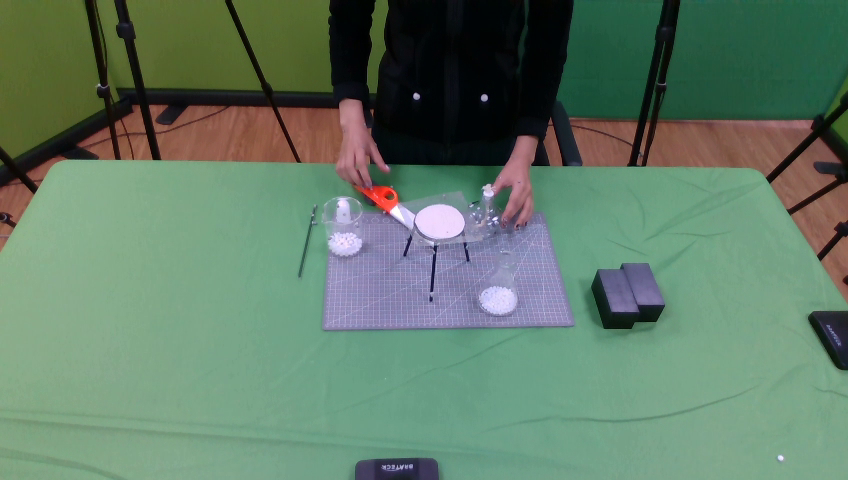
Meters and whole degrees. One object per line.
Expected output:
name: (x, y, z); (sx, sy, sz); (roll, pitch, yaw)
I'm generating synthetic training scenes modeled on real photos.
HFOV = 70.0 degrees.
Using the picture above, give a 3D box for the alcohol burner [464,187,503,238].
alcohol burner: (0.120, -0.061, 1.201); (0.078, 0.119, 0.077); (3, 47, -3)

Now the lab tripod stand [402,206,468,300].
lab tripod stand: (0.023, 0.013, 1.108); (0.148, 0.132, 0.147); (3, 44, -2)

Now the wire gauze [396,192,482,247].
wire gauze: (0.025, -0.036, 1.061); (0.125, 0.011, 0.120); (-9, 47, -14)

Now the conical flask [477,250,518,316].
conical flask: (0.136, 0.072, 1.067); (0.075, 0.122, 0.075); (2, 46, -2)

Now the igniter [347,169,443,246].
igniter: (-0.068, -0.070, 1.257); (0.275, 0.025, 0.057); (37, 71, 28)

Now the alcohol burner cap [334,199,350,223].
alcohol burner cap: (-0.167, -0.061, 1.227); (0.034, 0.048, 0.033); (2, 46, -2)

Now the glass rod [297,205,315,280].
glass rod: (-0.231, 0.001, 1.191); (0.008, 0.008, 0.198); (2, 46, -1)

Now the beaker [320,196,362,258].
beaker: (-0.156, -0.021, 1.150); (0.084, 0.101, 0.073); (-30, 55, -28)
